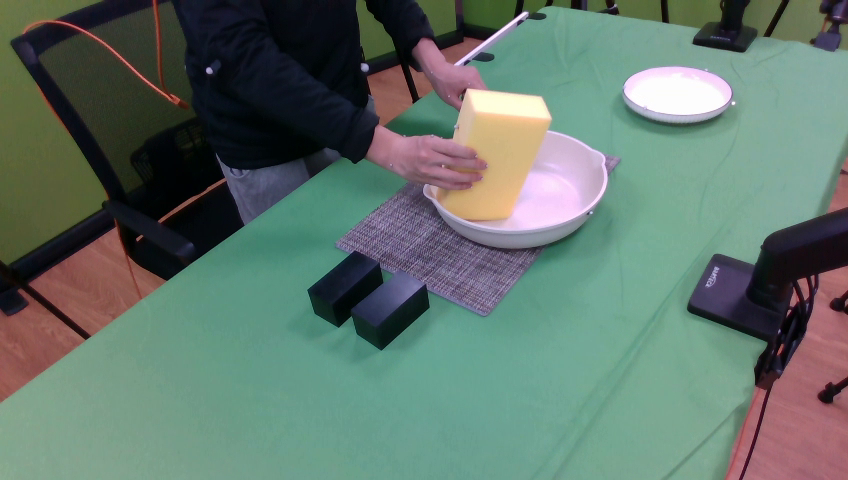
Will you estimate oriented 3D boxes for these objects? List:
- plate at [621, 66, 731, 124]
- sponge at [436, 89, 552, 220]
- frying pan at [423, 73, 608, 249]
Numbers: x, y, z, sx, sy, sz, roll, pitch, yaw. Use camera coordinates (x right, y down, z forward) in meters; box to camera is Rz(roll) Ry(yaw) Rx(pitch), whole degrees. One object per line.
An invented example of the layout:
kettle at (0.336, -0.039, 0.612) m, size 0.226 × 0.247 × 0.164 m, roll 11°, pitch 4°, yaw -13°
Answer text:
plate at (0.503, -0.288, 1.221) m, size 0.207 × 0.039 × 0.206 m, roll -4°, pitch 41°, yaw 4°
sponge at (0.101, -0.124, 0.933) m, size 0.119 × 0.207 × 0.060 m, roll 3°, pitch 46°, yaw -14°
frying pan at (0.130, -0.160, 1.069) m, size 0.307 × 0.103 × 0.484 m, roll -11°, pitch 49°, yaw -6°
